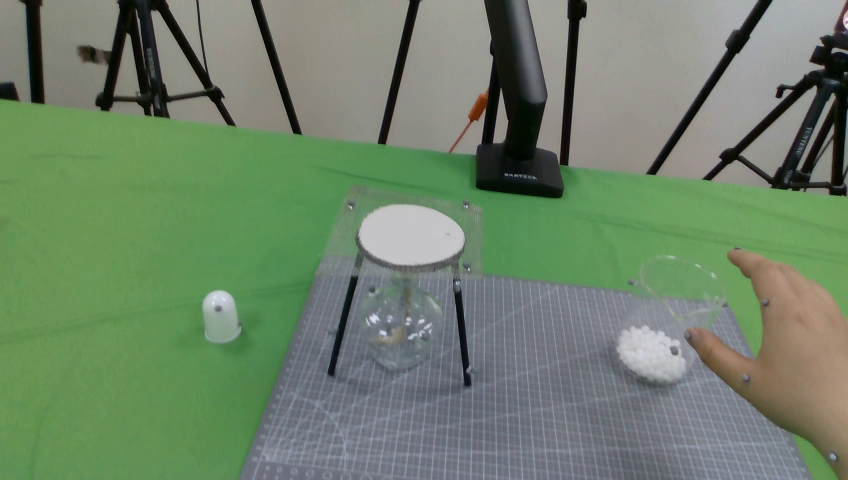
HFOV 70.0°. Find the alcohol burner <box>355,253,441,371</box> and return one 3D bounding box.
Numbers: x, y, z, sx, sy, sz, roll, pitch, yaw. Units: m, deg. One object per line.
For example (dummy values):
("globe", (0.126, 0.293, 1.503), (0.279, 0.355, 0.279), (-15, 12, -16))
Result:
("alcohol burner", (-0.022, 0.058, 0.533), (0.078, 0.120, 0.077), (5, 37, -4))

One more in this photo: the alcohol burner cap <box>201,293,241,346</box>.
("alcohol burner cap", (-0.187, 0.070, 0.556), (0.034, 0.048, 0.033), (4, 37, -3))

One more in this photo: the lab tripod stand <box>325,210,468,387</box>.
("lab tripod stand", (-0.019, 0.049, 0.528), (0.148, 0.132, 0.147), (3, 34, -2))

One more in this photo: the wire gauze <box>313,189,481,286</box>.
("wire gauze", (-0.015, -0.003, 0.485), (0.121, 0.011, 0.124), (7, 34, 2))

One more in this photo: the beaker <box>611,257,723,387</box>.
("beaker", (0.217, 0.080, 0.554), (0.074, 0.101, 0.083), (15, 37, 13))
